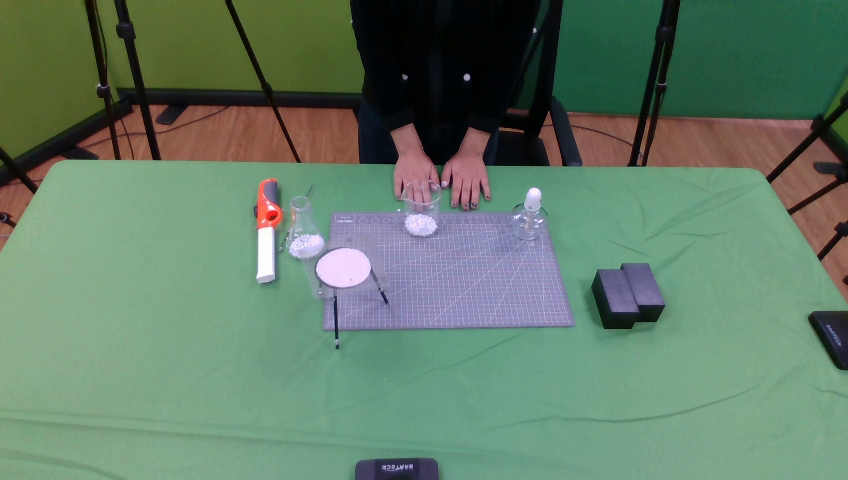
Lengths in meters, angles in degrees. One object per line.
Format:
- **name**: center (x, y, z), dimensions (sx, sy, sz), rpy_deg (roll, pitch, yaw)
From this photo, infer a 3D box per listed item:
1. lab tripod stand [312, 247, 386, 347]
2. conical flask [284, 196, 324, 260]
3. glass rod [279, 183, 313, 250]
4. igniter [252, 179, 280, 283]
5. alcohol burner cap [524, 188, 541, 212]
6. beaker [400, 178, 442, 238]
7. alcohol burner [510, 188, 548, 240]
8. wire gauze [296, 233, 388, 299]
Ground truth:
- **lab tripod stand**: center (-0.134, 0.085, 1.028), dimensions (0.148, 0.132, 0.147), rpy_deg (2, 45, -1)
- **conical flask**: center (-0.230, -0.026, 1.138), dimensions (0.075, 0.122, 0.075), rpy_deg (2, 45, -2)
- **glass rod**: center (-0.260, -0.052, 1.239), dimensions (0.008, 0.008, 0.198), rpy_deg (10, 47, 6)
- **igniter**: center (-0.312, -0.027, 1.197), dimensions (0.057, 0.025, 0.274), rpy_deg (-12, 47, -1)
- **alcohol burner cap**: center (0.212, -0.081, 1.177), dimensions (0.034, 0.048, 0.033), rpy_deg (-2, 54, 3)
- **beaker**: center (-0.009, -0.059, 1.200), dimensions (0.084, 0.101, 0.073), rpy_deg (-14, 48, -17)
- **alcohol burner**: center (0.211, -0.057, 1.204), dimensions (0.078, 0.120, 0.077), rpy_deg (1, 47, -1)
- **wire gauze**: center (-0.133, 0.041, 0.977), dimensions (0.125, 0.011, 0.120), rpy_deg (-12, 47, -16)
